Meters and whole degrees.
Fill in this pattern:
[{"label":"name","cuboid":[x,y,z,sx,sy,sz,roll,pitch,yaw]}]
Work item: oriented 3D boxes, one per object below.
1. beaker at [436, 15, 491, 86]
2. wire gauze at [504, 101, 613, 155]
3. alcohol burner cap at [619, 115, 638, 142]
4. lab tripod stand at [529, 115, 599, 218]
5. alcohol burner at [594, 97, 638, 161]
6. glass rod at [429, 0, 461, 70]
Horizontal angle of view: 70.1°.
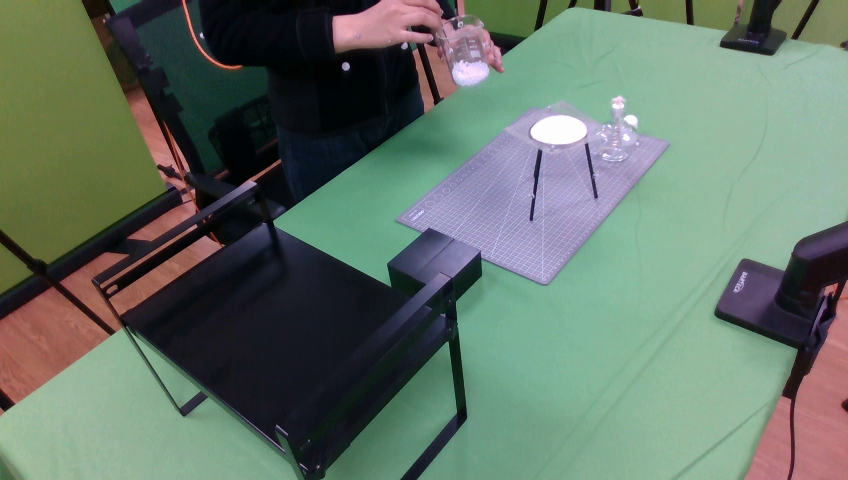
[{"label":"beaker","cuboid":[0.074,-0.325,1.042,0.083,0.101,0.074,-2,47,21]},{"label":"wire gauze","cuboid":[0.211,-0.176,0.955,0.125,0.011,0.120,-24,44,-18]},{"label":"alcohol burner cap","cuboid":[0.389,-0.214,1.145,0.034,0.048,0.033,-4,39,4]},{"label":"lab tripod stand","cuboid":[0.217,-0.123,0.995,0.148,0.132,0.147,-4,43,4]},{"label":"alcohol burner","cuboid":[0.345,-0.203,1.083,0.078,0.119,0.077,-5,42,5]},{"label":"glass rod","cuboid":[0.028,-0.361,1.005,0.008,0.201,0.008,-13,51,17]}]
